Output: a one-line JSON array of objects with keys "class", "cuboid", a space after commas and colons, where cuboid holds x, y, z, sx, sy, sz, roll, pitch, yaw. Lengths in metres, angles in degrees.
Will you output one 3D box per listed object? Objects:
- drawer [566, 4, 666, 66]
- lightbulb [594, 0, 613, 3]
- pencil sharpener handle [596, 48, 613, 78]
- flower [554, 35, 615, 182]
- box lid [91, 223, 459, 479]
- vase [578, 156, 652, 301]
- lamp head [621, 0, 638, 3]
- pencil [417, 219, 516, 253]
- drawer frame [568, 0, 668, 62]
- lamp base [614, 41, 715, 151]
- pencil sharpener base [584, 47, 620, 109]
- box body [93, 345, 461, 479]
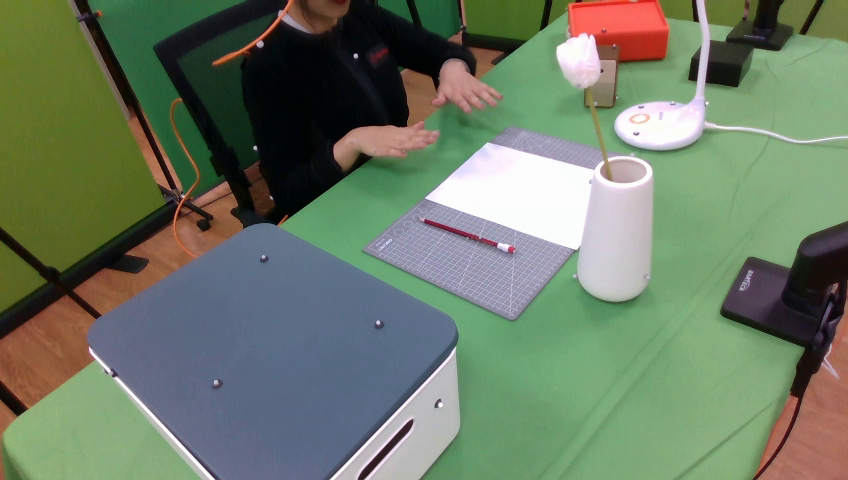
[{"class": "drawer", "cuboid": [0.447, -0.493, 1.441, 0.211, 0.073, 0.194, 0, 40, 10]}, {"class": "lightbulb", "cuboid": [0.305, -0.438, 0.978, 0.060, 0.107, 0.059, 13, 43, -11]}, {"class": "pencil sharpener handle", "cuboid": [0.382, -0.378, 1.276, 0.036, 0.068, 0.030, 3, 41, 21]}, {"class": "flower", "cuboid": [0.237, -0.083, 0.774, 0.044, 0.363, 0.038, -22, 26, 7]}, {"class": "box lid", "cuboid": [-0.174, 0.103, 0.667, 0.368, 0.015, 0.264, 24, 49, 35]}, {"class": "vase", "cuboid": [0.261, -0.011, 0.812, 0.098, 0.201, 0.097, -4, 40, 4]}, {"class": "lamp head", "cuboid": [0.319, -0.453, 0.962, 0.113, 0.123, 0.112, 20, 33, -13]}, {"class": "pencil", "cuboid": [0.066, -0.009, 0.992, 0.192, 0.012, 0.012, 19, 47, 32]}, {"class": "drawer frame", "cuboid": [0.450, -0.496, 1.441, 0.213, 0.083, 0.201, -1, 40, 9]}, {"class": "lamp base", "cuboid": [0.449, -0.277, 1.106, 0.179, 0.181, 0.160, 1, 41, 9]}, {"class": "pencil sharpener base", "cuboid": [0.367, -0.336, 1.248, 0.061, 0.107, 0.076, 6, 42, 19]}, {"class": "box body", "cuboid": [-0.162, 0.170, 0.708, 0.361, 0.161, 0.255, 25, 50, 34]}]
